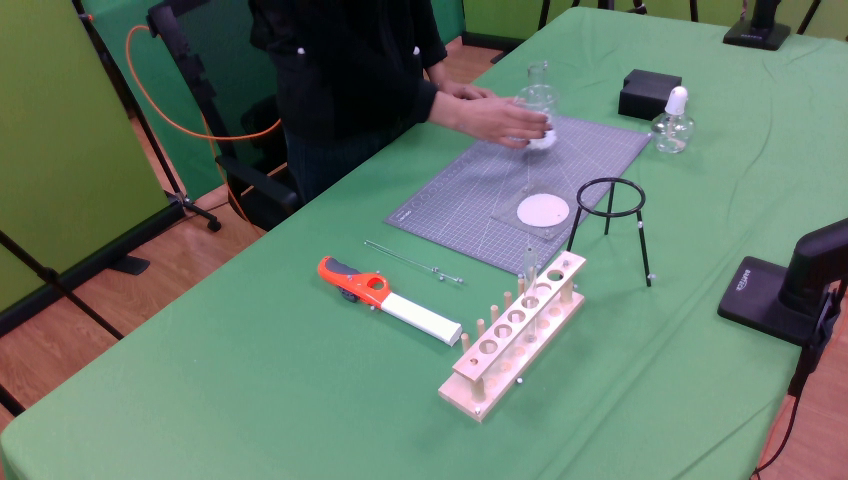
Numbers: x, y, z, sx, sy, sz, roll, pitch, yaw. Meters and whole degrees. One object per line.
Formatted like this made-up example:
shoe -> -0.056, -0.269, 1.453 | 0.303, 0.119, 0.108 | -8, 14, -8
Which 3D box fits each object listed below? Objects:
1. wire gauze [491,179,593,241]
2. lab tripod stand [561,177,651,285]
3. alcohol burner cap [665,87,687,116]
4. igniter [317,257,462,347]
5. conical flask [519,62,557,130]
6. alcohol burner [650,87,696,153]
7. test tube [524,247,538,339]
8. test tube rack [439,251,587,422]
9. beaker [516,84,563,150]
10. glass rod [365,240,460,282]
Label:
wire gauze -> 0.198, -0.051, 1.014 | 0.125, 0.011, 0.120 | -38, 48, -27
lab tripod stand -> 0.263, -0.014, 0.864 | 0.148, 0.132, 0.147 | -7, 38, 6
alcohol burner cap -> 0.445, -0.244, 1.060 | 0.034, 0.048, 0.033 | -2, 45, 3
igniter -> -0.061, 0.086, 0.891 | 0.274, 0.025, 0.057 | 23, 59, 33
conical flask -> 0.225, -0.287, 1.198 | 0.075, 0.122, 0.075 | -6, 40, 5
alcohol burner -> 0.448, -0.217, 1.084 | 0.078, 0.119, 0.077 | -6, 38, 5
test tube -> 0.133, 0.070, 0.749 | 0.017, 0.151, 0.017 | -5, 38, 4
test tube rack -> 0.118, 0.111, 0.780 | 0.066, 0.085, 0.243 | 26, 51, 34
beaker -> 0.212, -0.222, 1.110 | 0.084, 0.101, 0.073 | -13, 40, -3
glass rod -> -0.022, 0.032, 0.961 | 0.198, 0.008, 0.008 | 21, 49, 34
